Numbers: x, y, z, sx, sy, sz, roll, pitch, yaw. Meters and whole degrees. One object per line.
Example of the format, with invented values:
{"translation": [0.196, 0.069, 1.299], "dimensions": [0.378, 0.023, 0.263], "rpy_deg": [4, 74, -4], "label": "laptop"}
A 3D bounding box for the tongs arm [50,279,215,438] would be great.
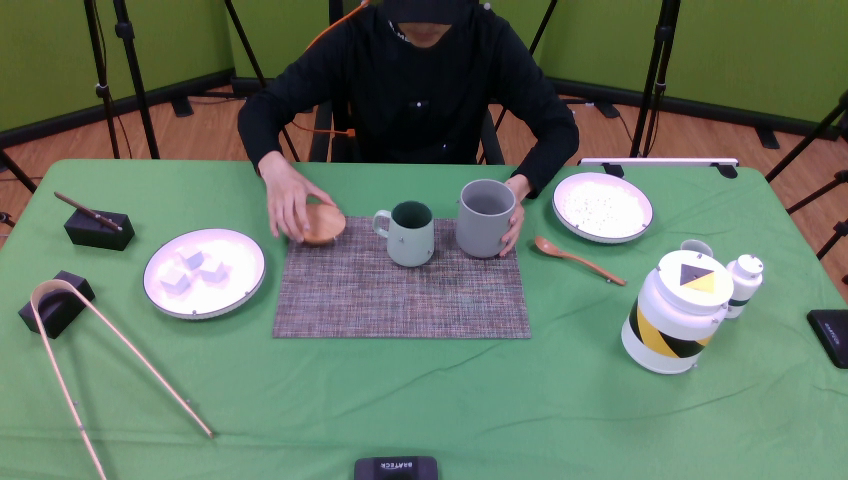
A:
{"translation": [-0.459, 0.178, 0.949], "dimensions": [0.386, 0.028, 0.028], "rpy_deg": [38, 60, 17], "label": "tongs arm"}

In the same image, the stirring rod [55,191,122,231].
{"translation": [-0.632, -0.055, 1.138], "dimensions": [0.175, 0.014, 0.006], "rpy_deg": [24, 51, 19], "label": "stirring rod"}

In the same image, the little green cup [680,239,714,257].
{"translation": [0.530, 0.033, 1.189], "dimensions": [0.061, 0.039, 0.061], "rpy_deg": [2, 47, -2], "label": "little green cup"}

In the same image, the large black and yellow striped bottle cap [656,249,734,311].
{"translation": [0.419, 0.061, 0.938], "dimensions": [0.115, 0.019, 0.114], "rpy_deg": [2, 47, -2], "label": "large black and yellow striped bottle cap"}

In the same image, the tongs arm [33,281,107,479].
{"translation": [-0.517, 0.214, 0.910], "dimensions": [0.051, 0.026, 0.383], "rpy_deg": [-28, 63, -27], "label": "tongs arm"}

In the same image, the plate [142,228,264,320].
{"translation": [-0.394, 0.064, 1.095], "dimensions": [0.208, 0.039, 0.206], "rpy_deg": [2, 46, -2], "label": "plate"}

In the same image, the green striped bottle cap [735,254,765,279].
{"translation": [0.566, 0.046, 1.051], "dimensions": [0.044, 0.020, 0.044], "rpy_deg": [0, 45, 0], "label": "green striped bottle cap"}

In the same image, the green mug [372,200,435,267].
{"translation": [-0.040, -0.016, 1.146], "dimensions": [0.125, 0.105, 0.092], "rpy_deg": [17, 48, 13], "label": "green mug"}

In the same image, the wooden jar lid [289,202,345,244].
{"translation": [-0.208, -0.032, 1.180], "dimensions": [0.108, 0.021, 0.107], "rpy_deg": [6, 44, -6], "label": "wooden jar lid"}

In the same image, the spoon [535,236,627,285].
{"translation": [0.303, 0.040, 1.178], "dimensions": [0.193, 0.022, 0.041], "rpy_deg": [25, 33, 20], "label": "spoon"}

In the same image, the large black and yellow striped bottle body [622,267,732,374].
{"translation": [0.415, 0.119, 0.997], "dimensions": [0.131, 0.185, 0.130], "rpy_deg": [2, 46, -2], "label": "large black and yellow striped bottle body"}

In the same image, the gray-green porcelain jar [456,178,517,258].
{"translation": [0.116, -0.037, 1.162], "dimensions": [0.106, 0.127, 0.105], "rpy_deg": [2, 46, -2], "label": "gray-green porcelain jar"}

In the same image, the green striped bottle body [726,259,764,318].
{"translation": [0.563, 0.081, 1.089], "dimensions": [0.063, 0.120, 0.063], "rpy_deg": [2, 46, -2], "label": "green striped bottle body"}

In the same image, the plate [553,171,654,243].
{"translation": [0.373, -0.066, 1.274], "dimensions": [0.209, 0.038, 0.208], "rpy_deg": [2, 46, -2], "label": "plate"}
